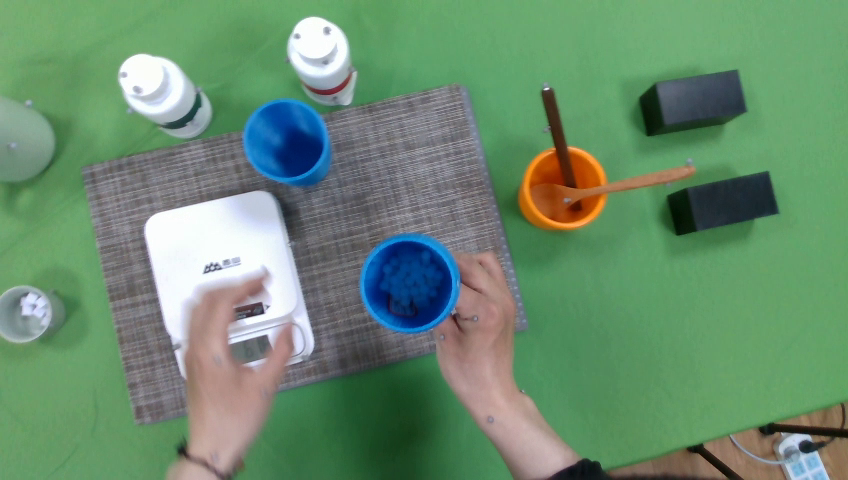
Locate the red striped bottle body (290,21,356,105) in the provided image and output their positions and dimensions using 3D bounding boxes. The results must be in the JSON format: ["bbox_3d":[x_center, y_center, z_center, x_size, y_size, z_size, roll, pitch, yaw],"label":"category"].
[{"bbox_3d":[-0.109,-0.196,0.663,0.063,0.120,0.063,0,85,-3],"label":"red striped bottle body"}]

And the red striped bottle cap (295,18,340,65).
[{"bbox_3d":[-0.107,-0.200,0.610,0.044,0.018,0.044,0,82,-2],"label":"red striped bottle cap"}]

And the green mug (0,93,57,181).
[{"bbox_3d":[-0.469,-0.099,0.645,0.092,0.105,0.125,22,84,-1],"label":"green mug"}]

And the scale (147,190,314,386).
[{"bbox_3d":[-0.216,0.052,0.678,0.149,0.031,0.200,-14,87,-4],"label":"scale"}]

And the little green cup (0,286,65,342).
[{"bbox_3d":[-0.430,0.081,0.665,0.061,0.038,0.061,0,85,-4],"label":"little green cup"}]

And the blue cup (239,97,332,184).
[{"bbox_3d":[-0.139,-0.099,0.660,0.093,0.100,0.092,0,88,-2],"label":"blue cup"}]

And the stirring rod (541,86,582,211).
[{"bbox_3d":[0.150,-0.092,0.651,0.014,0.178,0.006,1,51,26],"label":"stirring rod"}]

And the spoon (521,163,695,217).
[{"bbox_3d":[0.191,-0.055,0.652,0.022,0.193,0.041,-17,96,-47],"label":"spoon"}]

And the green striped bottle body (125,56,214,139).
[{"bbox_3d":[-0.275,-0.154,0.652,0.063,0.119,0.063,0,85,-3],"label":"green striped bottle body"}]

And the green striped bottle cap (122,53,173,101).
[{"bbox_3d":[-0.272,-0.161,0.596,0.044,0.020,0.044,0,85,-1],"label":"green striped bottle cap"}]

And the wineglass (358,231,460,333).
[{"bbox_3d":[-0.010,0.031,0.475,0.074,0.172,0.073,0,89,0],"label":"wineglass"}]
